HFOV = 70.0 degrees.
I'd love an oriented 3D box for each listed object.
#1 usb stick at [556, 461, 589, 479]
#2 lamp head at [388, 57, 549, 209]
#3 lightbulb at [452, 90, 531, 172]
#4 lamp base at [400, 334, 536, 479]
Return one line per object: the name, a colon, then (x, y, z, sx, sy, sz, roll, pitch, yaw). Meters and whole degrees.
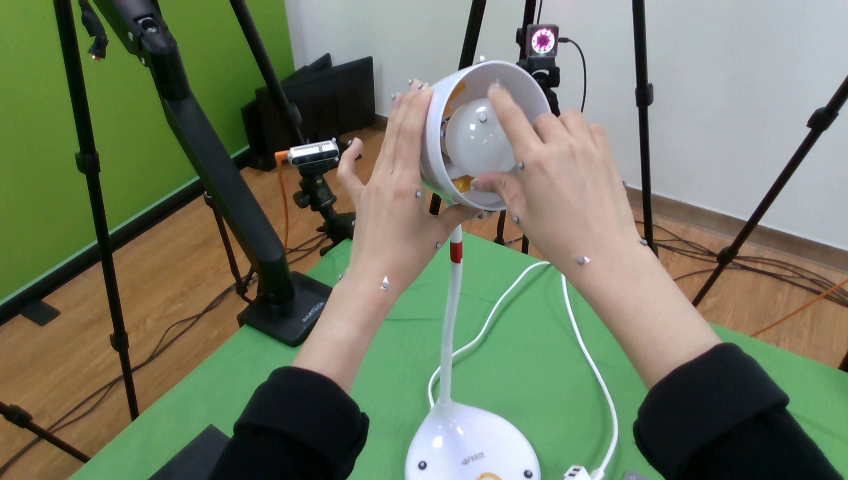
usb stick: (0.175, 0.282, 0.684, 0.027, 0.059, 0.021, -30, 5, -36)
lamp head: (0.025, -0.082, 0.501, 0.112, 0.113, 0.122, -26, 14, -27)
lightbulb: (0.051, -0.092, 0.476, 0.059, 0.060, 0.107, 0, 27, 2)
lamp base: (0.043, 0.203, 0.678, 0.161, 0.182, 0.177, -25, 43, -26)
